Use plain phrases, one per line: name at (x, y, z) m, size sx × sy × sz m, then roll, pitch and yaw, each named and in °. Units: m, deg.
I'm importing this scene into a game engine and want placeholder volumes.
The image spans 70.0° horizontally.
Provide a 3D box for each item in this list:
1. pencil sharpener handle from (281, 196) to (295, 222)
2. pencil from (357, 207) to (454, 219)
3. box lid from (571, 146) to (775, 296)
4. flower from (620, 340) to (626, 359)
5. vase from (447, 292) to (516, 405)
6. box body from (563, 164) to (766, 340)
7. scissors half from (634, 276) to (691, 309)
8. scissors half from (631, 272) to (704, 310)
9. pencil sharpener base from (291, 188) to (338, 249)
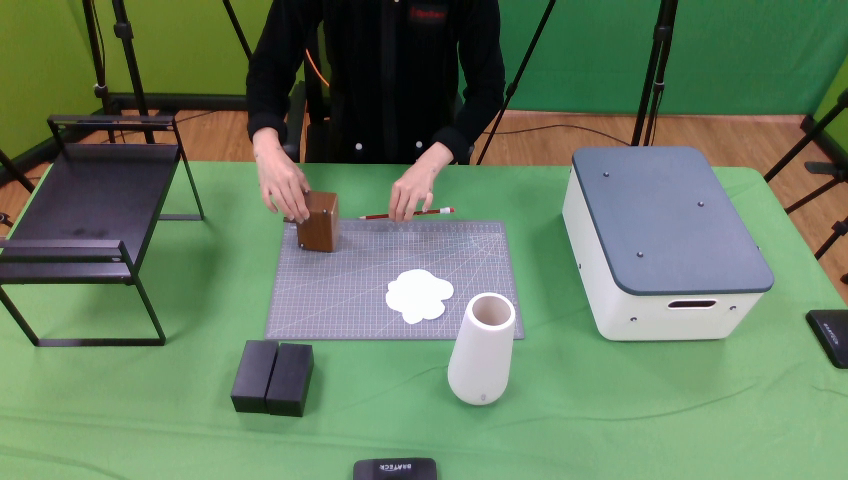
pencil sharpener handle at (-0.257, -0.056, 1.140) m, size 0.030 × 0.068 × 0.036 m, roll 5°, pitch 57°, yaw 0°
pencil at (-0.035, -0.052, 1.179) m, size 0.194 × 0.012 × 0.012 m, roll -6°, pitch 47°, yaw -11°
box lid at (0.424, -0.048, 1.074) m, size 0.263 × 0.015 × 0.369 m, roll -1°, pitch 46°, yaw -4°
flower at (0.416, 0.065, 1.186) m, size 0.038 × 0.044 × 0.360 m, roll 29°, pitch 64°, yaw -20°
vase at (0.091, 0.168, 0.921) m, size 0.098 × 0.201 × 0.097 m, roll 3°, pitch 47°, yaw -3°
box body at (0.421, 0.003, 1.130) m, size 0.254 × 0.161 × 0.361 m, roll 0°, pitch 46°, yaw -5°
scissors half at (0.454, 0.096, 1.144) m, size 0.175 × 0.040 × 0.013 m, roll -20°, pitch 88°, yaw -31°
scissors half at (0.460, 0.092, 1.132) m, size 0.175 × 0.040 × 0.013 m, roll -22°, pitch 83°, yaw -21°
pencil sharpener base at (-0.207, -0.040, 1.147) m, size 0.077 × 0.107 × 0.061 m, roll 5°, pitch 45°, yaw 0°
